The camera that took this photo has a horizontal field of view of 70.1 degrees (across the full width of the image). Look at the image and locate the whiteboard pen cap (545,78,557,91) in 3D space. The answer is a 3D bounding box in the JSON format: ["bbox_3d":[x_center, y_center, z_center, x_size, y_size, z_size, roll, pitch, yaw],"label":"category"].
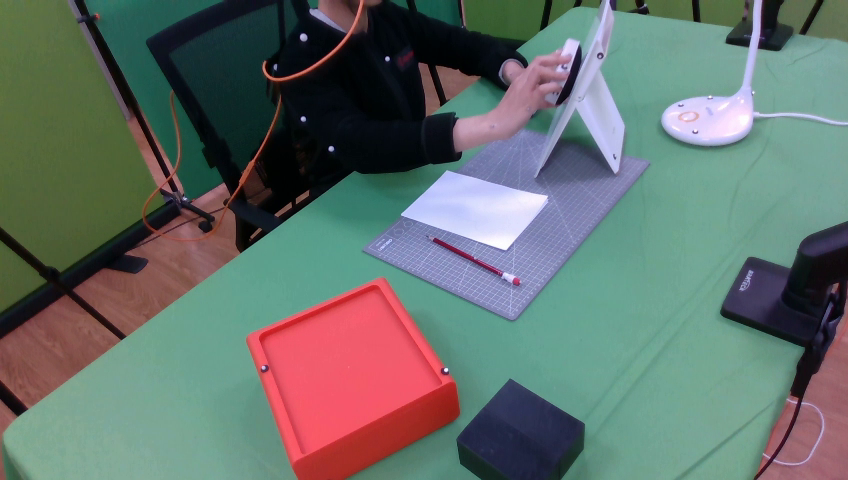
[{"bbox_3d":[0.280,-0.344,1.335,0.018,0.018,0.033,14,45,25],"label":"whiteboard pen cap"}]

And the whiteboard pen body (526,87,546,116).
[{"bbox_3d":[0.252,-0.305,1.298,0.017,0.017,0.141,15,46,26],"label":"whiteboard pen body"}]

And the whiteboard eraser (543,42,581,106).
[{"bbox_3d":[0.232,-0.275,1.001,0.042,0.055,0.112,20,52,3],"label":"whiteboard eraser"}]

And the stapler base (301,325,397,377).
[{"bbox_3d":[-0.101,0.143,0.815,0.131,0.024,0.041,-18,42,-13],"label":"stapler base"}]

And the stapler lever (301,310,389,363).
[{"bbox_3d":[-0.104,0.126,0.798,0.118,0.040,0.026,-17,42,-15],"label":"stapler lever"}]

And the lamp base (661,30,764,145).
[{"bbox_3d":[0.535,-0.287,1.096,0.179,0.181,0.159,-10,40,-4],"label":"lamp base"}]

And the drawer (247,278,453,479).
[{"bbox_3d":[-0.096,0.167,0.758,0.195,0.073,0.210,-22,43,-17],"label":"drawer"}]

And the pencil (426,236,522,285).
[{"bbox_3d":[0.072,0.028,0.941,0.192,0.012,0.012,26,52,37],"label":"pencil"}]

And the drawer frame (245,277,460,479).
[{"bbox_3d":[-0.093,0.167,0.755,0.202,0.083,0.211,-23,43,-17],"label":"drawer frame"}]

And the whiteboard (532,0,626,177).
[{"bbox_3d":[0.321,-0.258,1.050,0.144,0.306,0.217,21,45,5],"label":"whiteboard"}]
